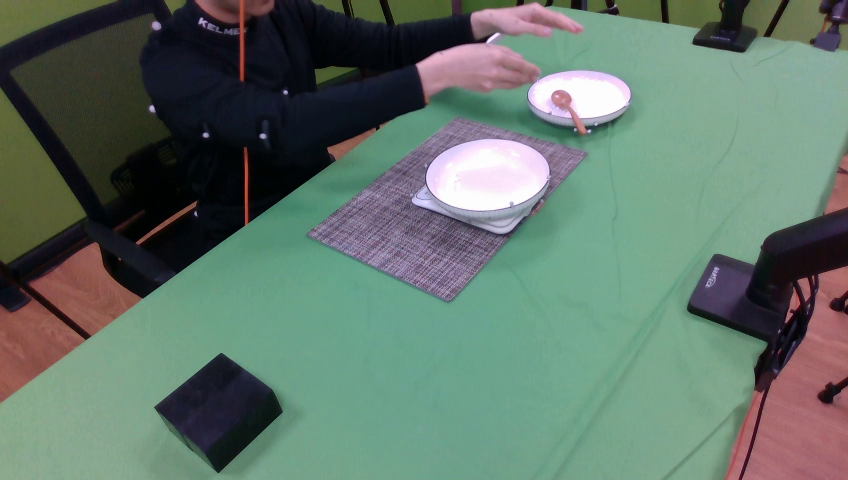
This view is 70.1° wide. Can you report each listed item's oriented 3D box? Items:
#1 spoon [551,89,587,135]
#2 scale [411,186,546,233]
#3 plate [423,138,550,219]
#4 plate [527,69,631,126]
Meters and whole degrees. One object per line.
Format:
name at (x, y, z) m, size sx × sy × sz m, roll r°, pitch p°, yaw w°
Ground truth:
spoon at (0.286, -0.253, 1.184) m, size 0.041 × 0.022 × 0.192 m, roll -7°, pitch 33°, yaw 1°
scale at (0.092, -0.083, 1.039) m, size 0.199 × 0.032 × 0.149 m, roll 22°, pitch 48°, yaw 30°
plate at (0.103, -0.099, 1.005) m, size 0.207 × 0.039 × 0.206 m, roll -4°, pitch 41°, yaw 4°
plate at (0.317, -0.289, 1.246) m, size 0.209 × 0.038 × 0.208 m, roll -4°, pitch 41°, yaw 4°
